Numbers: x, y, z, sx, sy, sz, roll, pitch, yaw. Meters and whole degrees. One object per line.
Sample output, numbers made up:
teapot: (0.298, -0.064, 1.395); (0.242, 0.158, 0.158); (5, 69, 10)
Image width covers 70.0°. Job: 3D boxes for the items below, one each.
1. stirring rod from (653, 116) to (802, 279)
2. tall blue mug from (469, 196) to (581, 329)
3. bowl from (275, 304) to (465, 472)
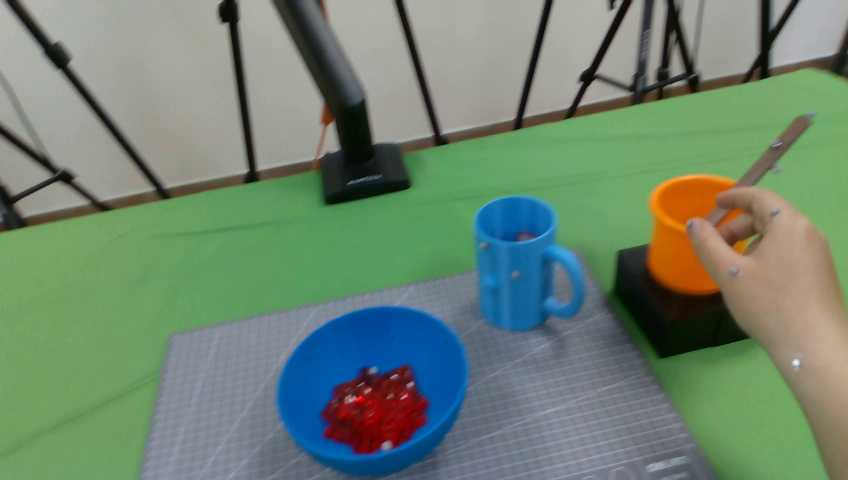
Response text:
stirring rod: (0.264, -0.035, 0.532); (0.176, 0.006, 0.014); (-52, 41, 12)
tall blue mug: (0.099, 0.024, 0.584); (0.107, 0.109, 0.077); (6, 39, 16)
bowl: (-0.038, 0.132, 0.496); (0.151, 0.077, 0.150); (-5, 38, 4)
